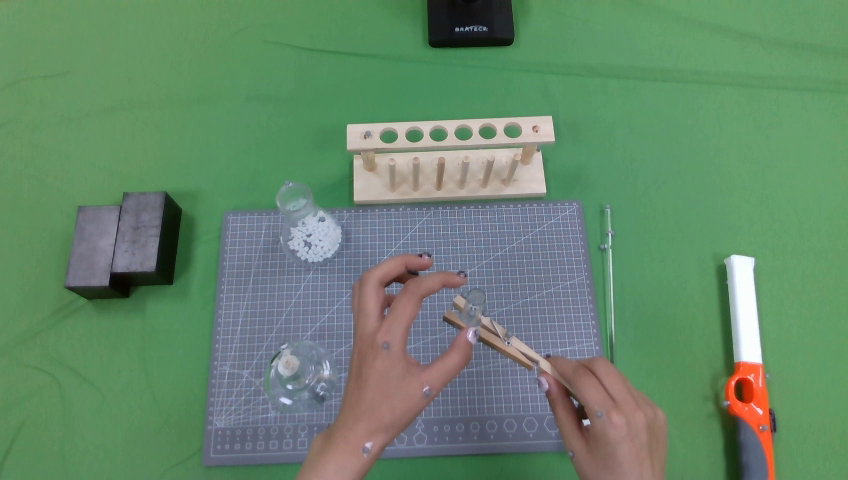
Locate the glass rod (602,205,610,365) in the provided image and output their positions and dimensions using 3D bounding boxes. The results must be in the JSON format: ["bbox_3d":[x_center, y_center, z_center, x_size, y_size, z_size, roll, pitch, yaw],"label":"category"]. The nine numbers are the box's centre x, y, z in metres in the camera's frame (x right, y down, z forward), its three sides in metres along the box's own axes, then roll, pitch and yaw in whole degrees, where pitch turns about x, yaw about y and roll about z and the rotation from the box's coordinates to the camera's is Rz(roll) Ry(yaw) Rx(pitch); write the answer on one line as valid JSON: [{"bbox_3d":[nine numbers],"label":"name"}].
[{"bbox_3d":[0.219,0.050,0.728,0.008,0.008,0.198,4,72,1],"label":"glass rod"}]

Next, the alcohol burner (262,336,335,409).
[{"bbox_3d":[-0.135,0.135,0.634,0.078,0.120,0.077,0,68,2],"label":"alcohol burner"}]

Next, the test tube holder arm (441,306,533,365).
[{"bbox_3d":[0.055,0.082,0.519,0.087,0.015,0.010,27,73,11],"label":"test tube holder arm"}]

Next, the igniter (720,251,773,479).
[{"bbox_3d":[0.361,0.145,0.685,0.057,0.025,0.274,9,70,-8],"label":"igniter"}]

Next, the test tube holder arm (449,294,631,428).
[{"bbox_3d":[0.095,0.100,0.511,0.177,0.015,0.013,33,75,13],"label":"test tube holder arm"}]

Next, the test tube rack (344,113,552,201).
[{"bbox_3d":[0.028,-0.099,0.740,0.242,0.086,0.066,-3,70,-2],"label":"test tube rack"}]

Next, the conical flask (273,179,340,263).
[{"bbox_3d":[-0.139,-0.026,0.688,0.075,0.122,0.075,0,70,0],"label":"conical flask"}]

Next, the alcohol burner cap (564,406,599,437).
[{"bbox_3d":[0.172,0.194,0.654,0.034,0.048,0.033,0,69,0],"label":"alcohol burner cap"}]

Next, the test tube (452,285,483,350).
[{"bbox_3d":[0.037,0.072,0.537,0.017,0.151,0.017,1,66,-1],"label":"test tube"}]
